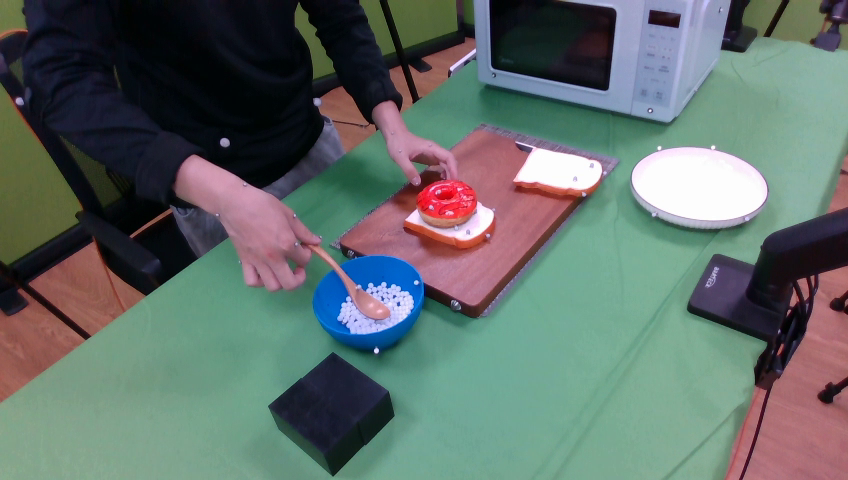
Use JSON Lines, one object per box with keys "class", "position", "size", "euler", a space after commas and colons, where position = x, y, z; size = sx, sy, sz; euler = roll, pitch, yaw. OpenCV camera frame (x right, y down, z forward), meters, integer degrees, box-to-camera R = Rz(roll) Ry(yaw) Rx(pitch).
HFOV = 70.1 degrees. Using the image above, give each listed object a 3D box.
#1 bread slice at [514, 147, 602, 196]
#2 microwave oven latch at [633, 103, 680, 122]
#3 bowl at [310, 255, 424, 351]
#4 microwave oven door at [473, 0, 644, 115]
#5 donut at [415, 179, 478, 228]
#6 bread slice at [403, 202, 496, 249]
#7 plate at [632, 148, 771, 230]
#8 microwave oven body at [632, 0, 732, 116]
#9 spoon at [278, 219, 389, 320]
{"class": "bread slice", "position": [0.232, -0.115, 1.026], "size": [0.133, 0.018, 0.107], "euler": [13, 45, 20]}
{"class": "microwave oven latch", "position": [0.444, -0.249, 1.157], "size": [0.078, 0.029, 0.030], "euler": [21, 49, 30]}
{"class": "bowl", "position": [-0.071, 0.098, 0.821], "size": [0.151, 0.077, 0.150], "euler": [-4, 40, 4]}
{"class": "microwave oven door", "position": [0.257, -0.396, 1.199], "size": [0.353, 0.245, 0.039], "euler": [21, 48, 29]}
{"class": "donut", "position": [0.036, -0.058, 0.944], "size": [0.099, 0.048, 0.098], "euler": [-5, 40, 4]}
{"class": "bread slice", "position": [0.048, -0.034, 0.961], "size": [0.130, 0.019, 0.105], "euler": [22, 49, 32]}
{"class": "plate", "position": [0.447, -0.081, 0.988], "size": [0.207, 0.039, 0.206], "euler": [-4, 40, 4]}
{"class": "microwave oven body", "position": [0.377, -0.462, 1.267], "size": [0.438, 0.261, 0.327], "euler": [21, 49, 30]}
{"class": "spoon", "position": [-0.121, 0.038, 0.800], "size": [0.193, 0.021, 0.042], "euler": [46, 34, 2]}
